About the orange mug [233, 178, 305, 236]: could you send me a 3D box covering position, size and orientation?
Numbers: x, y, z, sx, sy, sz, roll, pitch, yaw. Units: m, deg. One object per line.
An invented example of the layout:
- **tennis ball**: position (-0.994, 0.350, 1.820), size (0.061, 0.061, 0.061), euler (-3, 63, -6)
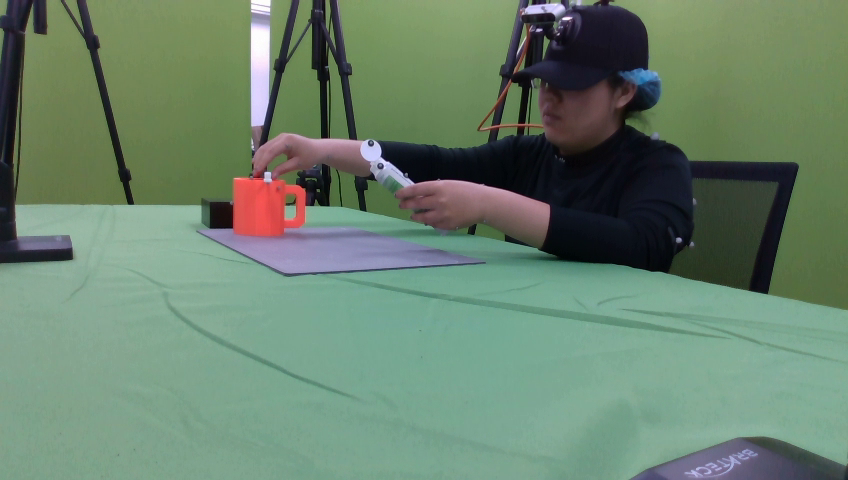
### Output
- **orange mug**: position (-0.273, -0.061, 1.067), size (0.127, 0.101, 0.083), euler (-5, 10, -24)

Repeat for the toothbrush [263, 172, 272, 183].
- **toothbrush**: position (-0.273, -0.112, 1.055), size (0.014, 0.016, 0.181), euler (-8, 10, -13)

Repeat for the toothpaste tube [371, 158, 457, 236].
- **toothpaste tube**: position (-0.020, -0.074, 0.959), size (0.034, 0.165, 0.055), euler (-50, 3, -34)

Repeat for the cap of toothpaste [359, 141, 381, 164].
- **cap of toothpaste**: position (-0.084, -0.135, 0.936), size (0.037, 0.037, 0.011), euler (0, 2, -19)
